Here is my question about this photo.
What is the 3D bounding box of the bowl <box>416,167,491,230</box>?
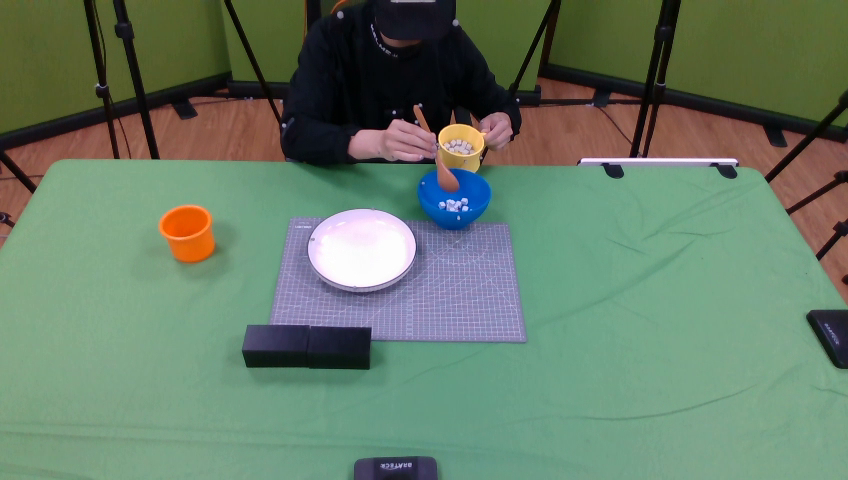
[{"bbox_3d":[0.057,-0.074,1.232,0.151,0.077,0.150,3,42,-2],"label":"bowl"}]

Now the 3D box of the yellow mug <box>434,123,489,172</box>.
[{"bbox_3d":[0.088,-0.201,1.317,0.131,0.064,0.099,-24,59,-24],"label":"yellow mug"}]

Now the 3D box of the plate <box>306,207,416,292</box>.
[{"bbox_3d":[-0.119,0.021,1.153,0.209,0.038,0.208,2,46,-2],"label":"plate"}]

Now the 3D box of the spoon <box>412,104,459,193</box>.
[{"bbox_3d":[0.018,-0.170,1.154,0.041,0.194,0.021,-11,27,29],"label":"spoon"}]
